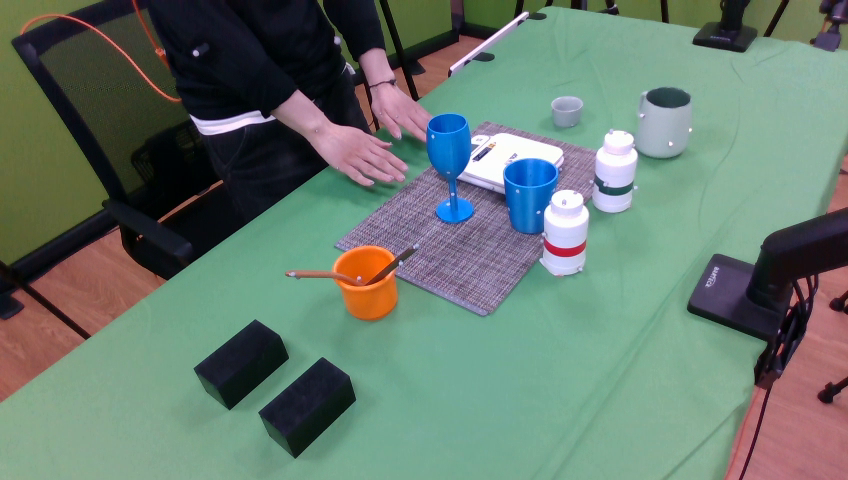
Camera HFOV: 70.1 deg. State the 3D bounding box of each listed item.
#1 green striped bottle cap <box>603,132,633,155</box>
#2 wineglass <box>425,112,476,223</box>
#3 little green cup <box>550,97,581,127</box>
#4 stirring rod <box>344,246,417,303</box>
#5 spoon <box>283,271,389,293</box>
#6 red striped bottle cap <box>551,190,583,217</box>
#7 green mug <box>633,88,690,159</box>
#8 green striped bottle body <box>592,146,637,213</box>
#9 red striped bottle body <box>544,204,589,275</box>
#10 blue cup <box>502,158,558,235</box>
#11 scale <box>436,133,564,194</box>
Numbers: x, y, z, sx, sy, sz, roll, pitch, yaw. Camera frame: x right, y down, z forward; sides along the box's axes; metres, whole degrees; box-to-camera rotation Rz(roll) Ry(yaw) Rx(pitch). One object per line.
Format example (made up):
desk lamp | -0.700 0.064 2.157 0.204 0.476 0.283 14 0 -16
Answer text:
green striped bottle cap | 0.302 -0.149 0.939 0.044 0.020 0.044 -3 40 3
wineglass | 0.043 -0.114 0.972 0.074 0.173 0.073 -4 41 4
little green cup | 0.284 -0.255 1.213 0.061 0.039 0.061 -4 41 4
stirring rod | -0.062 0.050 0.819 0.014 0.175 0.006 -1 63 -40
spoon | -0.117 0.054 0.824 0.041 0.195 0.021 17 89 38
red striped bottle cap | 0.200 -0.052 0.843 0.044 0.018 0.044 -2 41 2
green mug | 0.423 -0.217 1.099 0.093 0.105 0.124 -16 41 -10
green striped bottle body | 0.307 -0.108 0.976 0.063 0.120 0.063 -4 41 4
red striped bottle body | 0.206 -0.011 0.877 0.063 0.120 0.062 -4 41 4
blue cup | 0.168 -0.064 0.954 0.092 0.100 0.092 -5 38 5
scale | 0.137 -0.141 1.101 0.199 0.032 0.149 22 48 30
